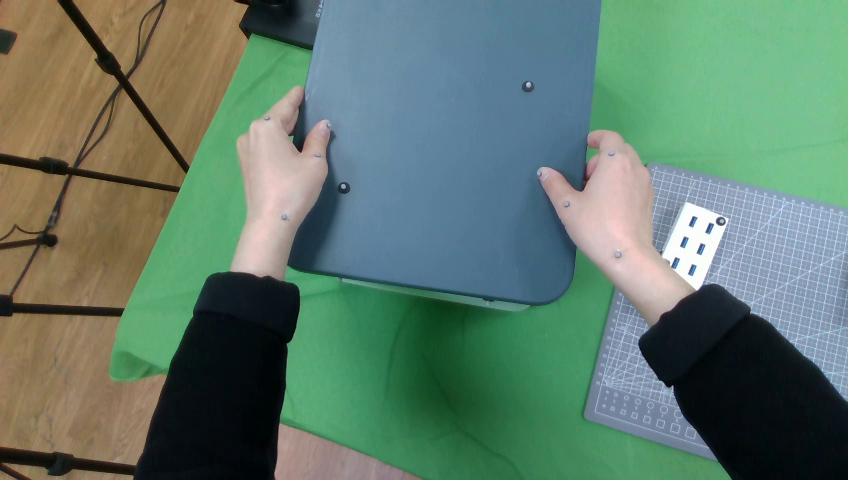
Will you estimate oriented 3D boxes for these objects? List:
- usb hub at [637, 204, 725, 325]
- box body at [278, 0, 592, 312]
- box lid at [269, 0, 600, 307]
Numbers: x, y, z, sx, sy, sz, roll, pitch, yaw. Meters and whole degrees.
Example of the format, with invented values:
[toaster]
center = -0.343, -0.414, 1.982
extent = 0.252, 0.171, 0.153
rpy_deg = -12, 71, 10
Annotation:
[usb hub]
center = 0.279, 0.026, 0.657
extent = 0.049, 0.025, 0.125
rpy_deg = 25, 81, 11
[box body]
center = 0.026, -0.117, 0.654
extent = 0.253, 0.161, 0.362
rpy_deg = 9, 78, 9
[box lid]
center = 0.019, -0.131, 0.556
extent = 0.263, 0.015, 0.369
rpy_deg = 8, 76, 4
